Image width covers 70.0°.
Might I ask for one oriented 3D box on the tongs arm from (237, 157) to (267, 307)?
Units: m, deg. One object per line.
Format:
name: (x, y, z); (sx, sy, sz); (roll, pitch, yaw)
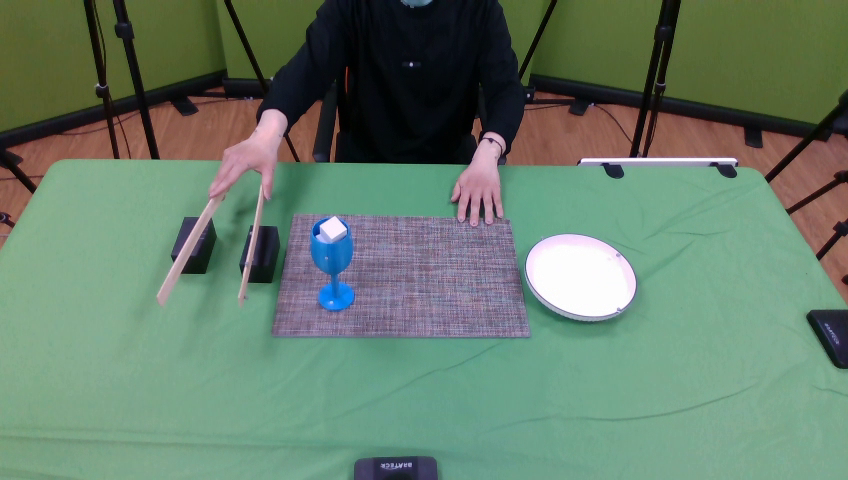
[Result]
tongs arm: (-0.325, -0.031, 1.112); (0.051, 0.026, 0.382); (-2, 44, -1)

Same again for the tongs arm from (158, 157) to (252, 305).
tongs arm: (-0.395, -0.032, 1.112); (0.028, 0.028, 0.385); (2, 43, 9)

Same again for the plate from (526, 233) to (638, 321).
plate: (0.292, 0.071, 1.135); (0.209, 0.038, 0.208); (2, 46, -2)

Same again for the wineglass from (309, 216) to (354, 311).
wineglass: (-0.155, 0.043, 1.032); (0.074, 0.173, 0.073); (2, 46, -2)
